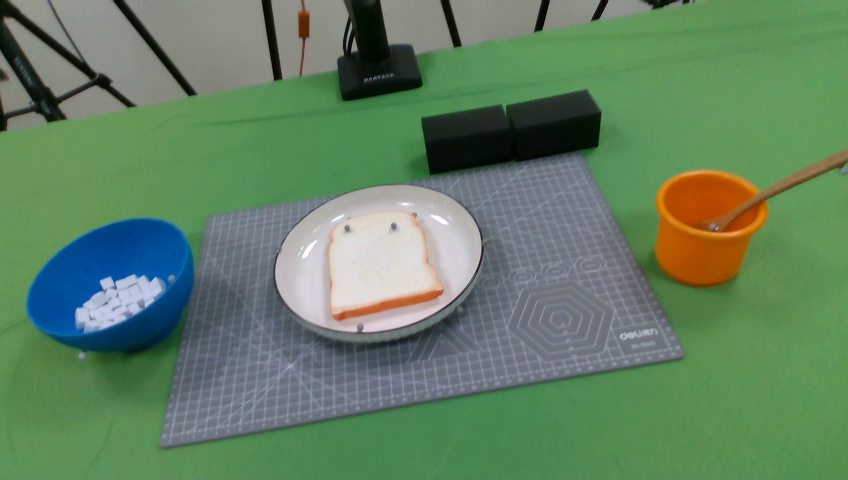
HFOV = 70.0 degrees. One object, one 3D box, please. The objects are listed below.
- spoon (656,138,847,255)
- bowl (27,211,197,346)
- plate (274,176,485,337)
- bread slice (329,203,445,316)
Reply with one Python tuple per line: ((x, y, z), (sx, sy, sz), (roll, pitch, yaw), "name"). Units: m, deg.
((0.289, -0.039, 0.526), (0.022, 0.194, 0.041), (30, 44, -23), "spoon")
((-0.286, 0.050, 0.590), (0.151, 0.077, 0.150), (-5, 45, 5), "bowl")
((-0.043, 0.016, 0.605), (0.209, 0.038, 0.207), (-5, 45, 6), "plate")
((-0.047, 0.014, 0.611), (0.107, 0.018, 0.133), (-15, 47, -4), "bread slice")
